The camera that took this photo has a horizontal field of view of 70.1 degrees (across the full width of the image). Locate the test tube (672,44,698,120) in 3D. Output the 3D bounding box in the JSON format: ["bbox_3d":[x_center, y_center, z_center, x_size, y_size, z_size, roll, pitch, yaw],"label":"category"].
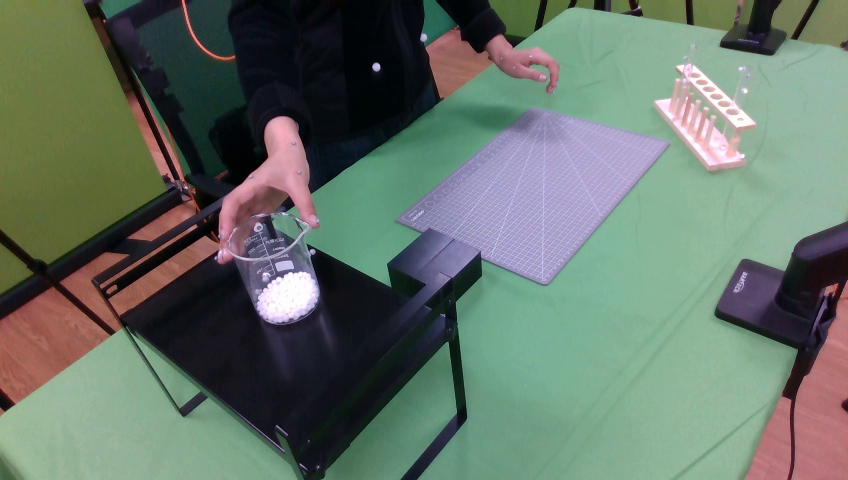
[{"bbox_3d":[0.484,-0.291,1.122,0.017,0.151,0.017,-2,41,2],"label":"test tube"}]

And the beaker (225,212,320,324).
[{"bbox_3d":[-0.149,0.031,0.625,0.084,0.101,0.073,-18,42,-13],"label":"beaker"}]

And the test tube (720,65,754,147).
[{"bbox_3d":[0.533,-0.226,1.032,0.017,0.151,0.017,-2,40,2],"label":"test tube"}]

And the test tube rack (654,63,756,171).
[{"bbox_3d":[0.510,-0.233,1.120,0.067,0.085,0.241,-8,41,-1],"label":"test tube rack"}]
